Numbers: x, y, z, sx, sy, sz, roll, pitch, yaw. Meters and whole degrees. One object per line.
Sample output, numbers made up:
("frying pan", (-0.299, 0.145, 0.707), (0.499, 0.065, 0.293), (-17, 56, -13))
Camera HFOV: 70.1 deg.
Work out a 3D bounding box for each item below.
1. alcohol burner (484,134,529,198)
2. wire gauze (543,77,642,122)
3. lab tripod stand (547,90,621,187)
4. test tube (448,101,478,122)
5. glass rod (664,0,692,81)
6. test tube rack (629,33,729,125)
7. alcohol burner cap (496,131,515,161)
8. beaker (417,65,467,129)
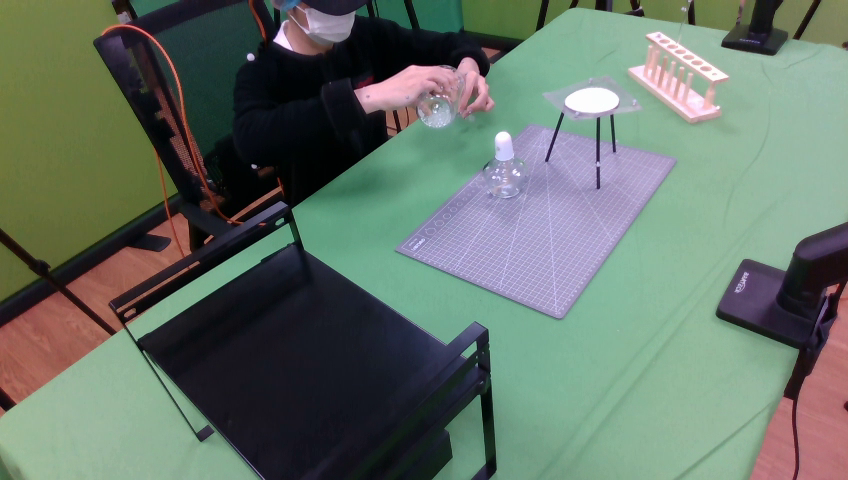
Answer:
("alcohol burner", (0.141, -0.133, 1.041), (0.078, 0.119, 0.077), (-4, 43, 5))
("wire gauze", (0.282, -0.236, 1.020), (0.125, 0.011, 0.120), (-15, 40, -6))
("lab tripod stand", (0.289, -0.184, 1.062), (0.148, 0.132, 0.147), (-6, 41, 6))
("test tube", (0.078, -0.248, 1.177), (0.017, 0.017, 0.151), (10, 5, 21))
("glass rod", (0.524, -0.419, 1.240), (0.008, 0.200, 0.008), (1, 42, -1))
("test tube rack", (0.516, -0.337, 1.247), (0.067, 0.085, 0.240), (-14, 41, -7))
("alcohol burner cap", (0.135, -0.160, 1.019), (0.034, 0.048, 0.033), (-8, 37, 7))
("beaker", (0.031, -0.245, 1.052), (0.073, 0.084, 0.100), (-4, 39, 21))
